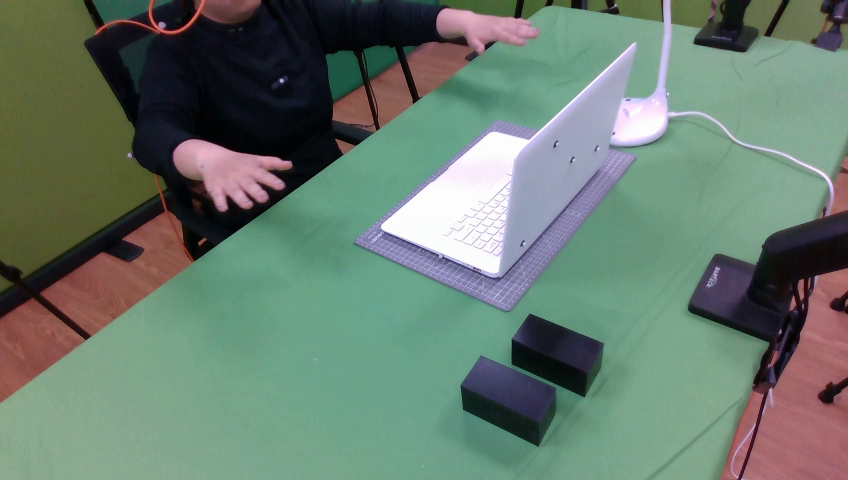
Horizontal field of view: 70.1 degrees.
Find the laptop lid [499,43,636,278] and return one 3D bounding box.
[{"bbox_3d":[0.217,-0.122,0.898,0.013,0.242,0.358,28,50,25],"label":"laptop lid"}]

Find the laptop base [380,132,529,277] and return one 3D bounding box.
[{"bbox_3d":[0.122,-0.077,1.042,0.233,0.023,0.355,20,47,33],"label":"laptop base"}]

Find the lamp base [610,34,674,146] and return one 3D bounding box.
[{"bbox_3d":[0.392,-0.291,1.129,0.180,0.181,0.159,-11,41,-8],"label":"lamp base"}]
